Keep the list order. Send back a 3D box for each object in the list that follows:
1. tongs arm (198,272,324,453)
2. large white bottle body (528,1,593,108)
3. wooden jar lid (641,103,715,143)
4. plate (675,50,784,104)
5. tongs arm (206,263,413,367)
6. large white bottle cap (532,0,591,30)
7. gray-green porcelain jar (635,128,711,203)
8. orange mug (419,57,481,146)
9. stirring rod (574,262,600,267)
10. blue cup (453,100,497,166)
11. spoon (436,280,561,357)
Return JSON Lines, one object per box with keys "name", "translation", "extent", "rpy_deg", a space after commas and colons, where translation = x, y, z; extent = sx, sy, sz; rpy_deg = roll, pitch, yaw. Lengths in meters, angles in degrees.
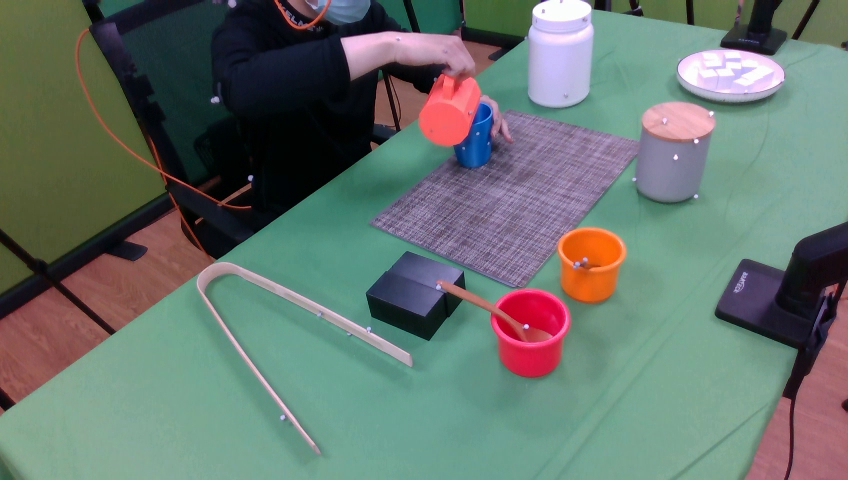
{"name": "tongs arm", "translation": [-0.236, 0.154, 0.830], "extent": [0.028, 0.028, 0.384], "rpy_deg": [-37, 48, -18]}
{"name": "large white bottle body", "translation": [0.283, -0.386, 1.259], "extent": [0.130, 0.185, 0.130], "rpy_deg": [-5, 41, 5]}
{"name": "wooden jar lid", "translation": [0.398, -0.180, 0.952], "extent": [0.108, 0.021, 0.108], "rpy_deg": [-4, 43, 4]}
{"name": "plate", "translation": [0.631, -0.336, 1.262], "extent": [0.207, 0.039, 0.206], "rpy_deg": [-4, 41, 4]}
{"name": "tongs arm", "translation": [-0.179, 0.106, 0.870], "extent": [0.381, 0.027, 0.051], "rpy_deg": [23, 54, 32]}
{"name": "large white bottle cap", "translation": [0.274, -0.449, 1.204], "extent": [0.115, 0.018, 0.114], "rpy_deg": [-4, 41, 4]}
{"name": "gray-green porcelain jar", "translation": [0.405, -0.133, 0.992], "extent": [0.106, 0.127, 0.105], "rpy_deg": [-4, 40, 4]}
{"name": "orange mug", "translation": [0.046, -0.235, 1.004], "extent": [0.083, 0.126, 0.100], "rpy_deg": [13, 44, 8]}
{"name": "stirring rod", "translation": [0.221, 0.033, 0.816], "extent": [0.014, 0.006, 0.177], "rpy_deg": [8, 1, 22]}
{"name": "blue cup", "translation": [0.089, -0.194, 1.121], "extent": [0.092, 0.101, 0.092], "rpy_deg": [-5, 43, 5]}
{"name": "spoon", "translation": [0.096, 0.095, 0.757], "extent": [0.195, 0.021, 0.041], "rpy_deg": [34, 41, -20]}
